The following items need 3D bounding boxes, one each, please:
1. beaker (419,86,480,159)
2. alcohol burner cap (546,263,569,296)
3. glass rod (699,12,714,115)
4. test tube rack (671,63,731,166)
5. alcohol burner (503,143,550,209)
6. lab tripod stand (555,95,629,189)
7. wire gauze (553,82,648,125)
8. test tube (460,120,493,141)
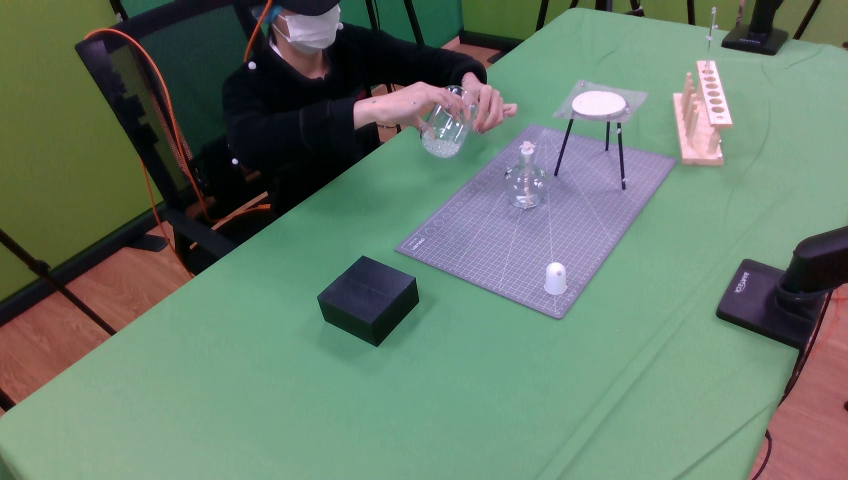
[{"bbox_3d":[0.041,-0.188,0.987,0.073,0.084,0.100,7,54,27],"label":"beaker"},{"bbox_3d":[0.191,0.053,0.862,0.034,0.048,0.033,-5,40,4],"label":"alcohol burner cap"},{"bbox_3d":[0.525,-0.323,1.124,0.008,0.201,0.008,-8,38,6],"label":"glass rod"},{"bbox_3d":[0.513,-0.241,1.132,0.066,0.085,0.242,4,41,14],"label":"test tube rack"},{"bbox_3d":[0.171,-0.112,1.006,0.078,0.119,0.077,-3,41,3],"label":"alcohol burner"},{"bbox_3d":[0.300,-0.174,1.045,0.148,0.132,0.147,-5,38,5],"label":"lab tripod stand"},{"bbox_3d":[0.293,-0.225,1.002,0.120,0.011,0.125,17,45,27],"label":"wire gauze"},{"bbox_3d":[0.099,-0.200,1.107,0.017,0.017,0.151,13,6,23],"label":"test tube"}]
